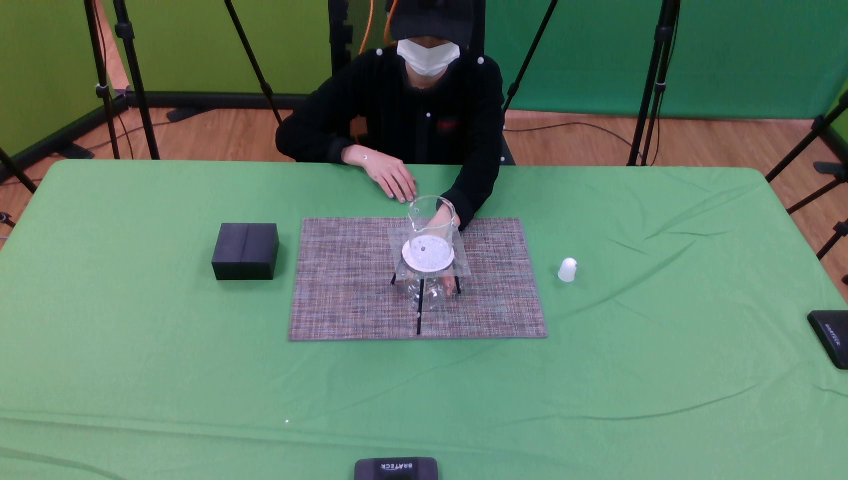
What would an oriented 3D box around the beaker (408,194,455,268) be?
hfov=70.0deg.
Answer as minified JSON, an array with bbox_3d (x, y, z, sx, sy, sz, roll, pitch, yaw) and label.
[{"bbox_3d":[0.009,-0.010,0.965,0.074,0.101,0.084,23,50,20],"label":"beaker"}]

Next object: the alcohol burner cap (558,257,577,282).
[{"bbox_3d":[0.276,0.053,1.154,0.034,0.048,0.033,2,46,-2],"label":"alcohol burner cap"}]

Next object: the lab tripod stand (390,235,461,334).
[{"bbox_3d":[-0.001,0.067,1.050,0.148,0.132,0.147,1,47,-1],"label":"lab tripod stand"}]

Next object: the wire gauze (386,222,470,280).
[{"bbox_3d":[0.005,0.018,1.006,0.125,0.011,0.120,-7,45,-5],"label":"wire gauze"}]

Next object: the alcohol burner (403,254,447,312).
[{"bbox_3d":[0.002,0.070,1.061,0.078,0.120,0.077,1,45,-1],"label":"alcohol burner"}]
